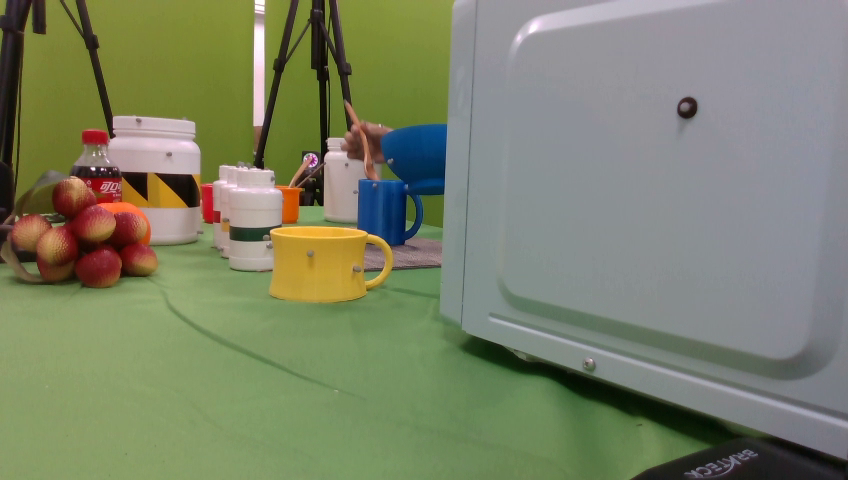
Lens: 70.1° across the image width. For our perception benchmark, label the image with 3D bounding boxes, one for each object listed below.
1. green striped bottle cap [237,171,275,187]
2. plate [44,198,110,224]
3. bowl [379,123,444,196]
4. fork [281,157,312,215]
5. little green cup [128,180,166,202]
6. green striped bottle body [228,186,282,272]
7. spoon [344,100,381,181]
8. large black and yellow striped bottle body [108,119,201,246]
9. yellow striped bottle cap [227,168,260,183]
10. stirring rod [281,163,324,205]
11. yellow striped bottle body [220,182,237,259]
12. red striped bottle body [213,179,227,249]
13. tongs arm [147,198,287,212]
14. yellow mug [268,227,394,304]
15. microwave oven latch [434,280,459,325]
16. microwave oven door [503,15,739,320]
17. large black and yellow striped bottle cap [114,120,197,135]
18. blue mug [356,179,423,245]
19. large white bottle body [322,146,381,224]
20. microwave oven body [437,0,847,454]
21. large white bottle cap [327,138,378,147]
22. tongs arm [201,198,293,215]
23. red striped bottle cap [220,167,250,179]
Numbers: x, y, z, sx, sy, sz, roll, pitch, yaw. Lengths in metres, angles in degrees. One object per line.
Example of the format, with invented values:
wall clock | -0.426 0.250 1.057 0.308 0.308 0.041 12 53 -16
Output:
green striped bottle cap | -0.205 -0.074 0.738 0.044 0.020 0.044 1 9 0
plate | -0.617 -0.056 1.179 0.209 0.038 0.209 3 7 0
bowl | 0.011 -0.108 0.866 0.151 0.076 0.151 -3 -6 0
fork | -0.289 -0.116 1.321 0.028 0.019 0.207 5 51 20
little green cup | -0.485 -0.087 1.062 0.061 0.038 0.061 -1 6 0
green striped bottle body | -0.208 -0.023 0.745 0.063 0.119 0.063 3 7 0
spoon | -0.106 -0.170 1.038 0.021 0.193 0.042 -30 -29 22
large black and yellow striped bottle body | -0.412 -0.088 0.930 0.131 0.184 0.130 3 7 0
yellow striped bottle cap | -0.243 -0.087 0.818 0.044 0.018 0.044 4 6 0
stirring rod | -0.278 -0.105 1.293 0.176 0.006 0.014 -47 24 -18
yellow striped bottle body | -0.246 -0.036 0.825 0.063 0.120 0.063 3 8 0
red striped bottle body | -0.284 -0.048 0.909 0.063 0.119 0.063 3 10 0
tongs arm | -0.503 -0.090 1.513 0.028 0.028 0.389 -1 3 38
yellow mug | -0.094 0.023 0.629 0.131 0.064 0.099 0 7 -22
microwave oven latch | 0.044 0.045 0.470 0.079 0.029 0.030 -2 8 -39
microwave oven door | 0.218 -0.065 0.600 0.358 0.243 0.039 -4 10 -41
large black and yellow striped bottle cap | -0.407 -0.171 0.920 0.115 0.019 0.115 2 9 0
blue mug | -0.056 -0.046 1.005 0.116 0.106 0.082 5 8 21
large white bottle body | -0.164 -0.135 1.369 0.131 0.184 0.130 2 7 0
microwave oven body | 0.279 -0.040 0.464 0.444 0.260 0.324 -3 9 -41
large white bottle cap | -0.160 -0.218 1.357 0.115 0.018 0.115 2 8 0
tongs arm | -0.423 -0.084 1.472 0.050 0.026 0.386 1 6 21
red striped bottle cap | -0.281 -0.100 0.901 0.044 0.017 0.044 0 5 0
